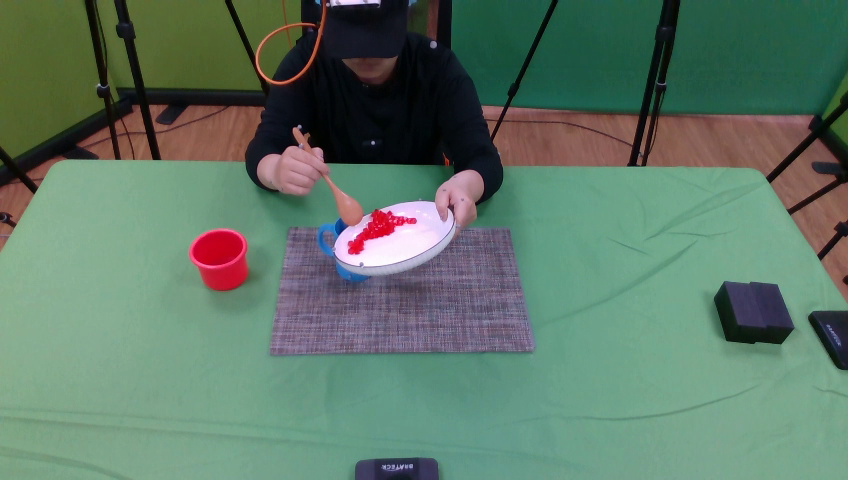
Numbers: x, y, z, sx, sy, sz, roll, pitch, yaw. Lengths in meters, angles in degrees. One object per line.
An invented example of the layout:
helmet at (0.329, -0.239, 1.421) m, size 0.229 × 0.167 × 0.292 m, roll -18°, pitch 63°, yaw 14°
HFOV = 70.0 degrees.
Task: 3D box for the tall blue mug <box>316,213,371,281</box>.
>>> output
tall blue mug at (-0.141, 0.014, 1.109) m, size 0.107 × 0.108 × 0.077 m, roll -4°, pitch 48°, yaw -9°

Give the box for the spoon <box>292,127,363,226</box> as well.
spoon at (-0.165, -0.105, 1.020) m, size 0.041 × 0.194 × 0.021 m, roll -37°, pitch 15°, yaw -10°

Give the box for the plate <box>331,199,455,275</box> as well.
plate at (-0.048, -0.001, 0.996) m, size 0.207 × 0.039 × 0.206 m, roll -12°, pitch 29°, yaw 7°
